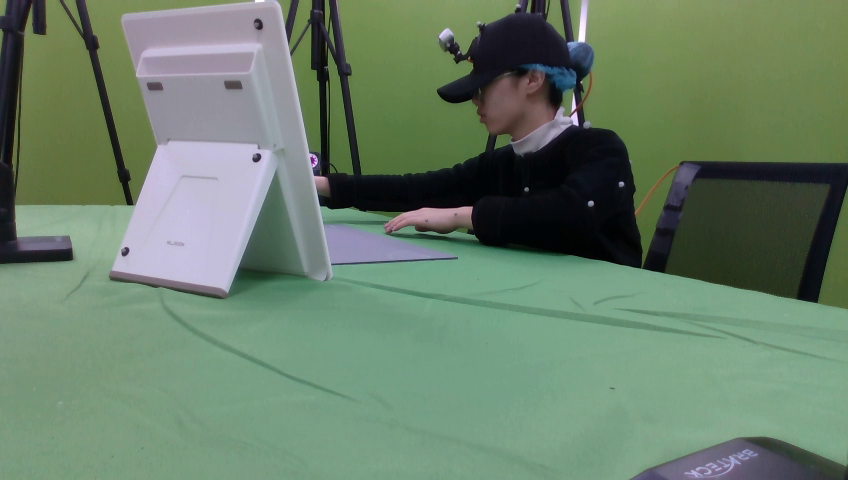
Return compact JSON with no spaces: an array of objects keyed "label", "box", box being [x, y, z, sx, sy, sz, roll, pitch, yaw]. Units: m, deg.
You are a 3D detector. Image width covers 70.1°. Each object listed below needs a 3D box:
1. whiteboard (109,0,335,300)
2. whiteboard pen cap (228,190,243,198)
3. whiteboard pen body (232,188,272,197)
[{"label":"whiteboard","box":[-0.247,-0.072,0.625,0.216,0.305,0.144,6,28,26]},{"label":"whiteboard pen cap","box":[-0.388,-0.096,1.248,0.018,0.018,0.033,4,8,18]},{"label":"whiteboard pen body","box":[-0.371,-0.102,1.303,0.017,0.017,0.141,4,8,18]}]
